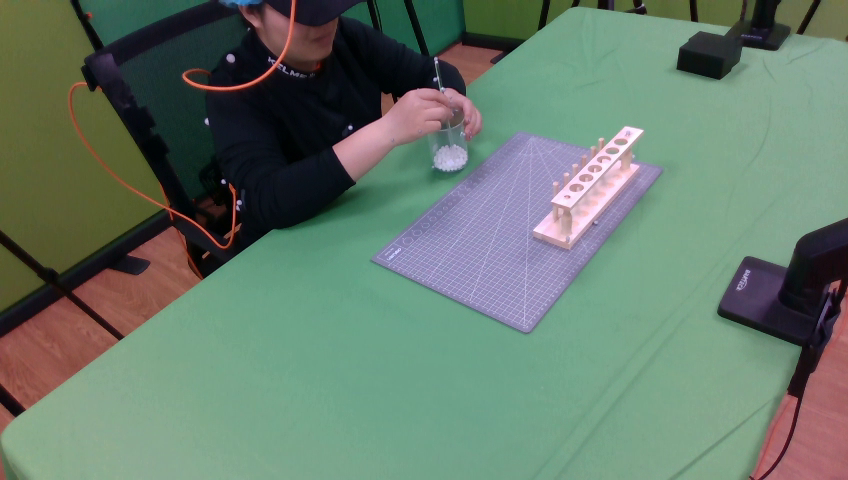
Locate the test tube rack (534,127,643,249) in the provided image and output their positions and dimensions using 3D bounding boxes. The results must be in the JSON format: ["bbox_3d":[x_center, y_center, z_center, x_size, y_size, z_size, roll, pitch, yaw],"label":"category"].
[{"bbox_3d":[0.271,-0.094,0.990,0.066,0.085,0.243,23,50,34],"label":"test tube rack"}]

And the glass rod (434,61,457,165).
[{"bbox_3d":[0.039,-0.220,1.073,0.008,0.200,0.008,-9,35,7],"label":"glass rod"}]

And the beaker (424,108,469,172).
[{"bbox_3d":[0.045,-0.184,1.120,0.073,0.101,0.084,8,46,20],"label":"beaker"}]
